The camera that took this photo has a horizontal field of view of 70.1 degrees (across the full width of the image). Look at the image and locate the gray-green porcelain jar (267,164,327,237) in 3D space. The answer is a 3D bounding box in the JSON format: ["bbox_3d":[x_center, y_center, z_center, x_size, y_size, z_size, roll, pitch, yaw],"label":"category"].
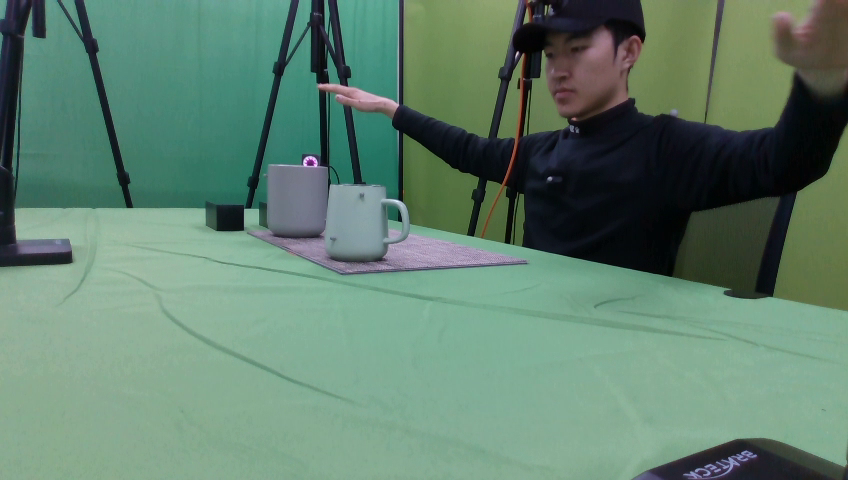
[{"bbox_3d":[-0.227,-0.072,1.086,0.106,0.126,0.106,2,8,0],"label":"gray-green porcelain jar"}]

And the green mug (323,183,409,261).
[{"bbox_3d":[-0.080,-0.026,0.851,0.125,0.105,0.093,5,7,20],"label":"green mug"}]
